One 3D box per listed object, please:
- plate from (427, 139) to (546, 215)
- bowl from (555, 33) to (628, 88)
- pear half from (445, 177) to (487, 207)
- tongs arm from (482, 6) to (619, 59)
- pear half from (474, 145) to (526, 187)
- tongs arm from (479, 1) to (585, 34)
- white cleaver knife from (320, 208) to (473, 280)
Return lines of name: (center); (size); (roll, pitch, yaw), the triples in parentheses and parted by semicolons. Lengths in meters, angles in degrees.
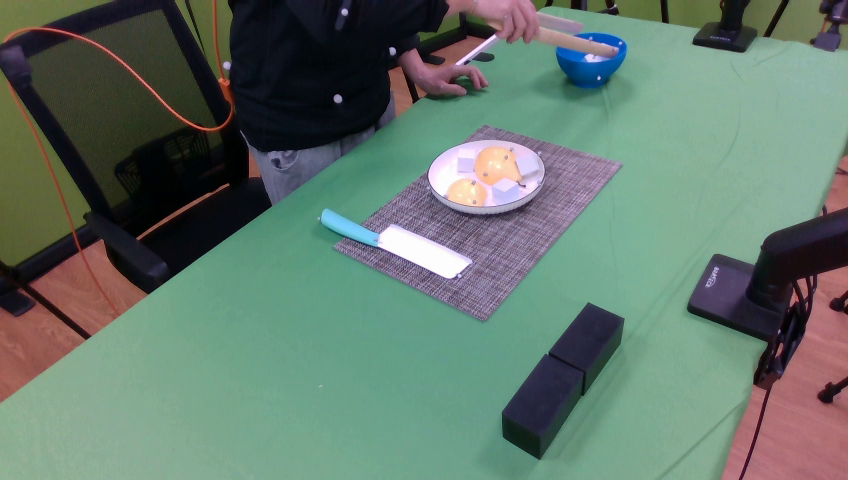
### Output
plate: (0.109, -0.106, 1.058); (0.207, 0.039, 0.206); (-4, 40, 4)
bowl: (0.361, -0.384, 1.318); (0.151, 0.077, 0.150); (-4, 41, 4)
pear half: (0.073, -0.086, 1.032); (0.070, 0.031, 0.087); (-20, 36, -10)
tongs arm: (0.254, -0.388, 1.149); (0.388, 0.026, 0.050); (-8, 50, -44)
pear half: (0.140, -0.129, 1.059); (0.076, 0.056, 0.109); (-37, 53, -24)
tongs arm: (0.220, -0.428, 1.175); (0.390, 0.027, 0.028); (-15, 59, -48)
white cleaver knife: (-0.053, 0.001, 0.978); (0.284, 0.021, 0.066); (23, 40, 26)
